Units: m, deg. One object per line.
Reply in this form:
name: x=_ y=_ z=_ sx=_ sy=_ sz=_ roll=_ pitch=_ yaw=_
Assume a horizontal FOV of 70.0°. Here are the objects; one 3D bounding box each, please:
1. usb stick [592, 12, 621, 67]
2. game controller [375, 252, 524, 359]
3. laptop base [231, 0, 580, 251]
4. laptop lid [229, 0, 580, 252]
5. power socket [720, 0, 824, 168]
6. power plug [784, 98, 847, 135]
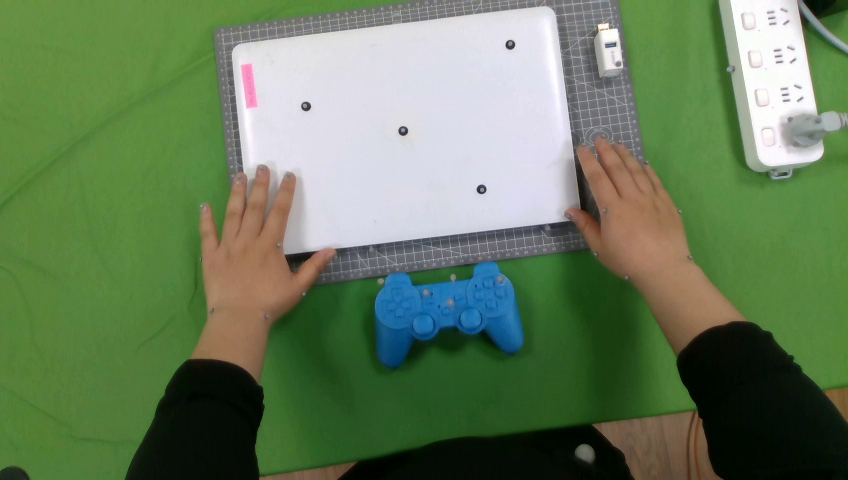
usb stick: x=0.195 y=-0.219 z=0.650 sx=0.021 sy=0.027 sz=0.059 roll=-8 pitch=83 yaw=3
game controller: x=0.023 y=0.067 z=0.627 sx=0.155 sy=0.052 sz=0.096 roll=-7 pitch=81 yaw=1
laptop base: x=-0.022 y=-0.125 z=0.656 sx=0.354 sy=0.023 sz=0.235 roll=-8 pitch=89 yaw=1
laptop lid: x=-0.023 y=-0.124 z=0.644 sx=0.357 sy=0.013 sz=0.241 roll=-6 pitch=88 yaw=1
power socket: x=0.366 y=-0.191 z=0.643 sx=0.072 sy=0.032 sz=0.226 roll=-7 pitch=85 yaw=2
power plug: x=0.405 y=-0.123 z=0.617 sx=0.072 sy=0.053 sz=0.035 roll=5 pitch=85 yaw=-2
